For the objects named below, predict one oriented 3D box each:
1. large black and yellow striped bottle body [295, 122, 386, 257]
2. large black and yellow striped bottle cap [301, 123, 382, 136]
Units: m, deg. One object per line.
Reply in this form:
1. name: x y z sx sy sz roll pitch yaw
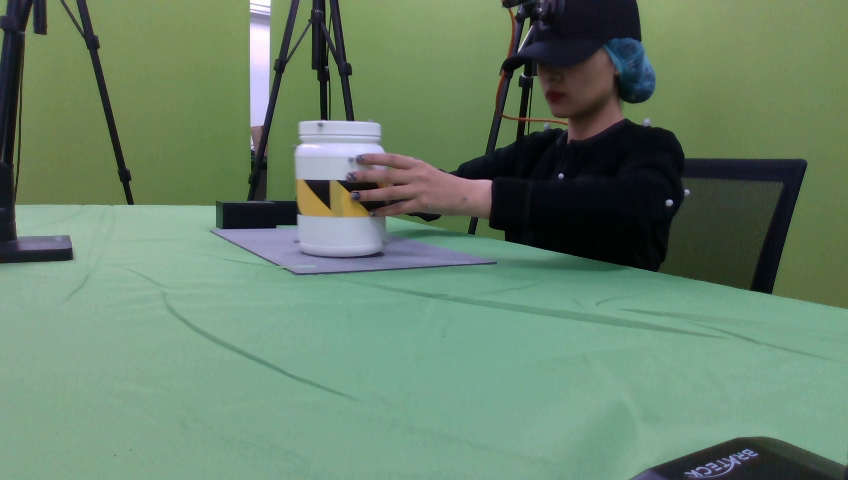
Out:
1. large black and yellow striped bottle body: -0.119 -0.075 0.876 0.131 0.184 0.130 1 8 0
2. large black and yellow striped bottle cap: -0.118 -0.157 0.863 0.115 0.019 0.115 -1 9 0
